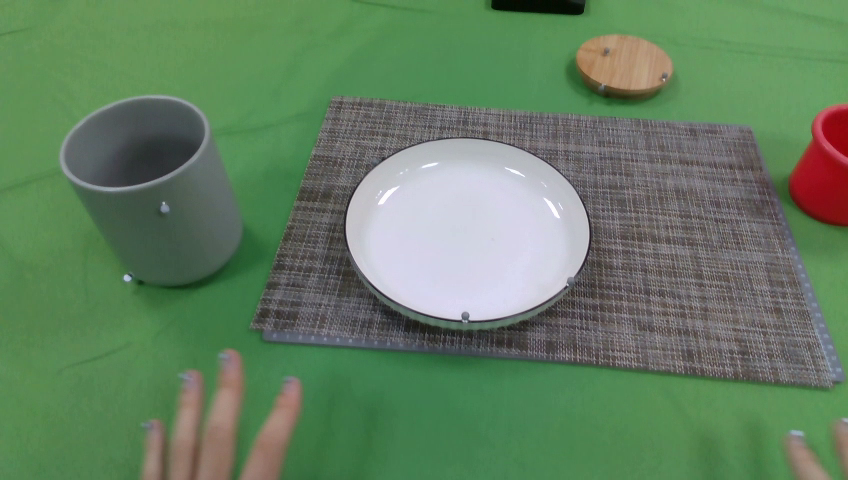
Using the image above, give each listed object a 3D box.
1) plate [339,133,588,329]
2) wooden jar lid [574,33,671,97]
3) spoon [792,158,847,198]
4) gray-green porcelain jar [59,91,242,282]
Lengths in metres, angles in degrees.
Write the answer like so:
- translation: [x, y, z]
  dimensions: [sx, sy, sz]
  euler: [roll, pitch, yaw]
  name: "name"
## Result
- translation: [0.033, -0.009, 0.521]
  dimensions: [0.208, 0.039, 0.205]
  euler: [1, 51, -1]
  name: "plate"
- translation: [0.226, -0.200, 0.694]
  dimensions: [0.108, 0.021, 0.107]
  euler: [1, 52, -1]
  name: "wooden jar lid"
- translation: [0.426, -0.082, 0.522]
  dimensions: [0.193, 0.022, 0.041]
  euler: [-26, 39, 37]
  name: "spoon"
- translation: [-0.209, -0.036, 0.486]
  dimensions: [0.106, 0.127, 0.105]
  euler: [1, 51, -1]
  name: "gray-green porcelain jar"
